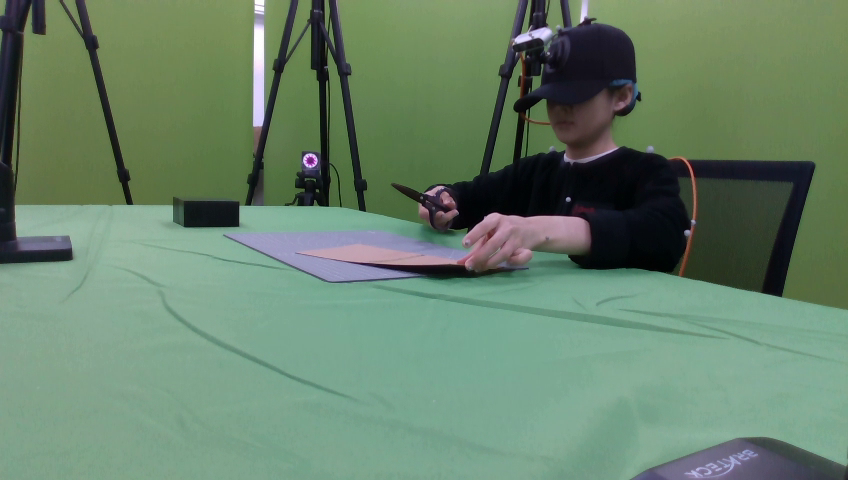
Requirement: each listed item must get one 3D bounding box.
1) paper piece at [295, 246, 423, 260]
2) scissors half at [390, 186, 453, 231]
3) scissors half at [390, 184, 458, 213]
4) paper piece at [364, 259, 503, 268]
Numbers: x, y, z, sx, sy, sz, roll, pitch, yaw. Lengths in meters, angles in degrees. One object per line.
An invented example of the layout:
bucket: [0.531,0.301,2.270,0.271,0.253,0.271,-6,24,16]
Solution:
paper piece: [-0.094,0.020,0.877,0.137,0.008,0.137,7,4,36]
scissors half: [-0.003,-0.054,0.998,0.013,0.040,0.176,11,-14,38]
scissors half: [0.003,-0.073,0.998,0.012,0.040,0.176,18,6,38]
paper piece: [0.014,0.032,0.801,0.135,0.004,0.136,2,-3,36]
